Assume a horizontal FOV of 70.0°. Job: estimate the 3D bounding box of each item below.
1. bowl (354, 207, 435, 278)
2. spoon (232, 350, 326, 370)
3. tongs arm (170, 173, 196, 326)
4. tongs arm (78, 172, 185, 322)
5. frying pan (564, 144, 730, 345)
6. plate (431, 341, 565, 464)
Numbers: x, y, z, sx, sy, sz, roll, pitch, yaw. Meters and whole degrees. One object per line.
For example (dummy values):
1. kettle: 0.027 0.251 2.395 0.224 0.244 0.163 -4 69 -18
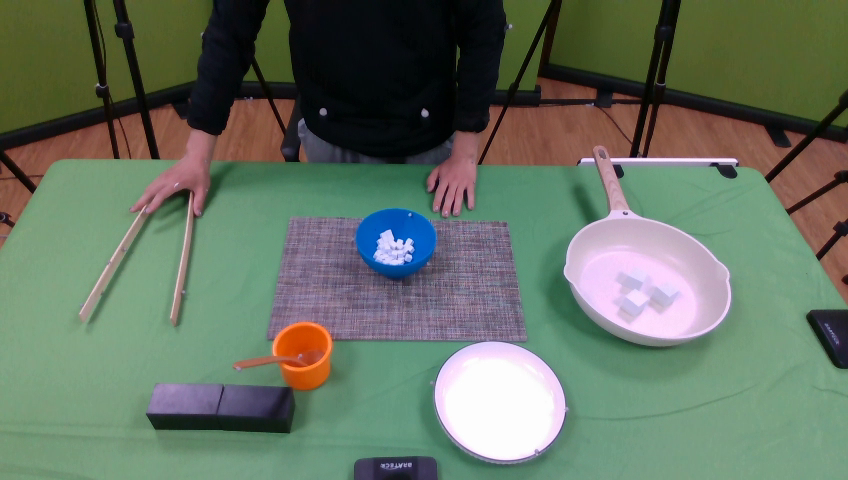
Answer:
1. bowl: -0.056 0.018 1.132 0.151 0.077 0.150 2 46 -2
2. spoon: -0.216 0.182 0.919 0.041 0.194 0.021 43 102 28
3. tongs arm: -0.461 0.003 1.155 0.028 0.028 0.385 -7 47 -7
4. tongs arm: -0.541 -0.001 1.147 0.051 0.026 0.382 5 45 -1
5. frying pan: 0.396 -0.008 1.179 0.307 0.103 0.484 0 55 -5
6. plate: 0.114 0.255 0.951 0.208 0.039 0.206 3 46 -2
